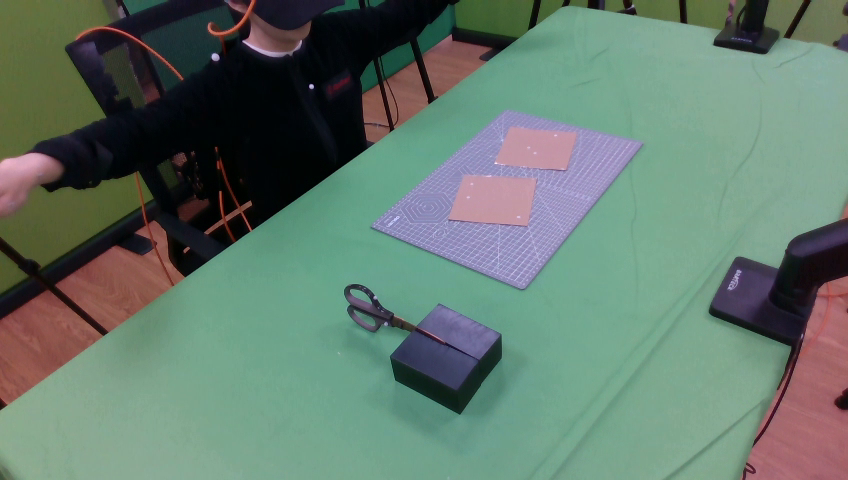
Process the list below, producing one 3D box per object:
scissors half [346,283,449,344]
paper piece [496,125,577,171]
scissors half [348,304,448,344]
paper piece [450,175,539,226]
[{"bbox_3d":[-0.038,0.099,0.803,0.174,0.040,0.013,26,37,28],"label":"scissors half"},{"bbox_3d":[0.218,-0.178,1.159,0.135,0.004,0.135,9,44,18],"label":"paper piece"},{"bbox_3d":[-0.037,0.117,0.813,0.174,0.040,0.013,9,33,39],"label":"scissors half"},{"bbox_3d":[0.125,-0.073,1.051,0.135,0.009,0.138,3,42,18],"label":"paper piece"}]
